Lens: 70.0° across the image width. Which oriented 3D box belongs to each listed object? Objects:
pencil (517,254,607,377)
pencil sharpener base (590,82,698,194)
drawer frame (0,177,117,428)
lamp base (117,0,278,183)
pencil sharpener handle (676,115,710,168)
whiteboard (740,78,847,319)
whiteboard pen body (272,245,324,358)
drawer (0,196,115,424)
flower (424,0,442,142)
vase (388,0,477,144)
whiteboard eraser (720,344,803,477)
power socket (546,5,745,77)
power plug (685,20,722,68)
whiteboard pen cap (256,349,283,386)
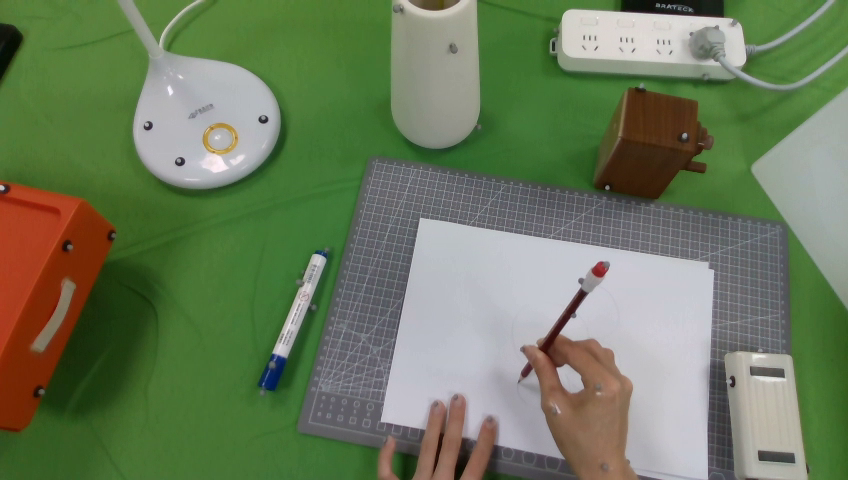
[{"bbox_3d":[0.107,0.071,0.501,0.012,0.195,0.012,7,52,-8],"label":"pencil"},{"bbox_3d":[0.221,-0.099,0.613,0.076,0.108,0.061,12,68,5],"label":"pencil sharpener base"},{"bbox_3d":[-0.423,0.039,0.532,0.213,0.083,0.200,13,70,3],"label":"drawer frame"},{"bbox_3d":[-0.254,-0.171,0.606,0.178,0.181,0.160,42,74,18],"label":"lamp base"},{"bbox_3d":[0.270,-0.093,0.598,0.030,0.068,0.036,12,67,5],"label":"pencil sharpener handle"},{"bbox_3d":[0.493,-0.079,0.530,0.144,0.307,0.215,-14,67,-25],"label":"whiteboard"},{"bbox_3d":[-0.127,0.068,0.595,0.017,0.017,0.140,14,66,7],"label":"whiteboard pen body"},{"bbox_3d":[-0.417,0.038,0.530,0.211,0.074,0.193,12,70,5],"label":"drawer"},{"bbox_3d":[0.015,-0.226,0.527,0.038,0.364,0.043,-2,50,-8],"label":"flower"},{"bbox_3d":[0.007,-0.180,0.598,0.098,0.201,0.097,-1,67,2],"label":"vase"},{"bbox_3d":[0.301,0.152,0.546,0.055,0.042,0.112,5,69,1],"label":"whiteboard eraser"},{"bbox_3d":[0.258,-0.232,0.705,0.227,0.033,0.071,4,69,2],"label":"power socket"},{"bbox_3d":[0.306,-0.210,0.671,0.035,0.053,0.072,14,71,7],"label":"power plug"},{"bbox_3d":[-0.145,0.119,0.571,0.018,0.018,0.033,15,63,7],"label":"whiteboard pen cap"}]
